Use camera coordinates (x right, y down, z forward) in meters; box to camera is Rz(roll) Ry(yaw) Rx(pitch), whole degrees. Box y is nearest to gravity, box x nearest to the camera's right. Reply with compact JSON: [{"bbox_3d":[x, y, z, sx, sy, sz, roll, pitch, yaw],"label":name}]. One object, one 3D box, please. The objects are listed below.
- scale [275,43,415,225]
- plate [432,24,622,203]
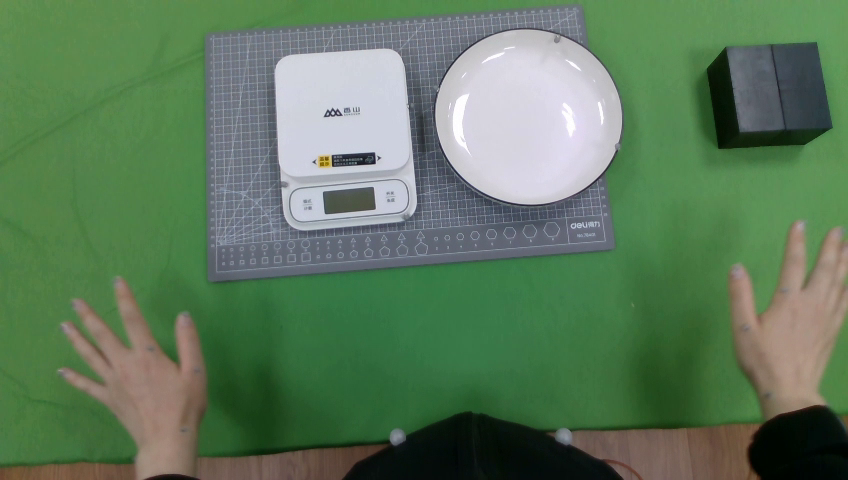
[{"bbox_3d":[-0.090,-0.121,0.680,0.149,0.031,0.200,-5,80,0],"label":"scale"},{"bbox_3d":[0.114,-0.138,0.678,0.209,0.038,0.208,0,79,0],"label":"plate"}]
